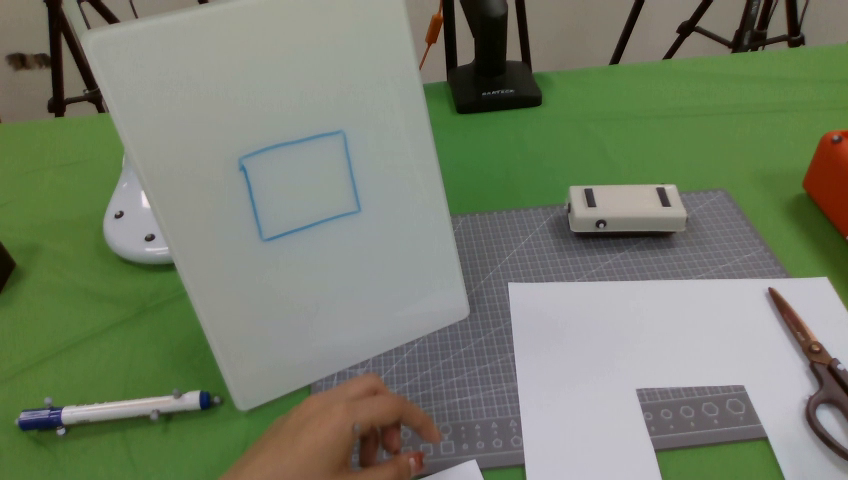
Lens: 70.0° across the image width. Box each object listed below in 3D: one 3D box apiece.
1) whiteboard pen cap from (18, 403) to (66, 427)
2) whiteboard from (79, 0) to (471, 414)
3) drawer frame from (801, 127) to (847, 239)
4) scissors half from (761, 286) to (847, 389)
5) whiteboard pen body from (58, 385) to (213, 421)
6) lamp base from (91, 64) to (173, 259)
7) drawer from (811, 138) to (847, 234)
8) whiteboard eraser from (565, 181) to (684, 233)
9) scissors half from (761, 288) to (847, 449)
[{"bbox_3d":[-0.306,0.141,0.488,0.033,0.018,0.018,-4,42,-9],"label":"whiteboard pen cap"},{"bbox_3d":[-0.110,-0.051,0.521,0.217,0.308,0.142,-20,25,-16],"label":"whiteboard"},{"bbox_3d":[0.511,-0.025,0.566,0.202,0.083,0.211,-5,42,0],"label":"drawer frame"},{"bbox_3d":[0.332,0.097,0.495,0.040,0.013,0.173,-2,39,-16],"label":"scissors half"},{"bbox_3d":[-0.246,0.135,0.495,0.141,0.017,0.017,-6,42,-7],"label":"whiteboard pen body"},{"bbox_3d":[-0.290,-0.097,0.636,0.178,0.182,0.160,23,49,30],"label":"lamp base"},{"bbox_3d":[0.512,-0.019,0.562,0.194,0.074,0.209,-4,41,1],"label":"drawer"},{"bbox_3d":[0.205,-0.033,0.626,0.112,0.042,0.055,-1,41,4],"label":"whiteboard eraser"},{"bbox_3d":[0.312,0.096,0.493,0.040,0.013,0.173,4,38,1],"label":"scissors half"}]
